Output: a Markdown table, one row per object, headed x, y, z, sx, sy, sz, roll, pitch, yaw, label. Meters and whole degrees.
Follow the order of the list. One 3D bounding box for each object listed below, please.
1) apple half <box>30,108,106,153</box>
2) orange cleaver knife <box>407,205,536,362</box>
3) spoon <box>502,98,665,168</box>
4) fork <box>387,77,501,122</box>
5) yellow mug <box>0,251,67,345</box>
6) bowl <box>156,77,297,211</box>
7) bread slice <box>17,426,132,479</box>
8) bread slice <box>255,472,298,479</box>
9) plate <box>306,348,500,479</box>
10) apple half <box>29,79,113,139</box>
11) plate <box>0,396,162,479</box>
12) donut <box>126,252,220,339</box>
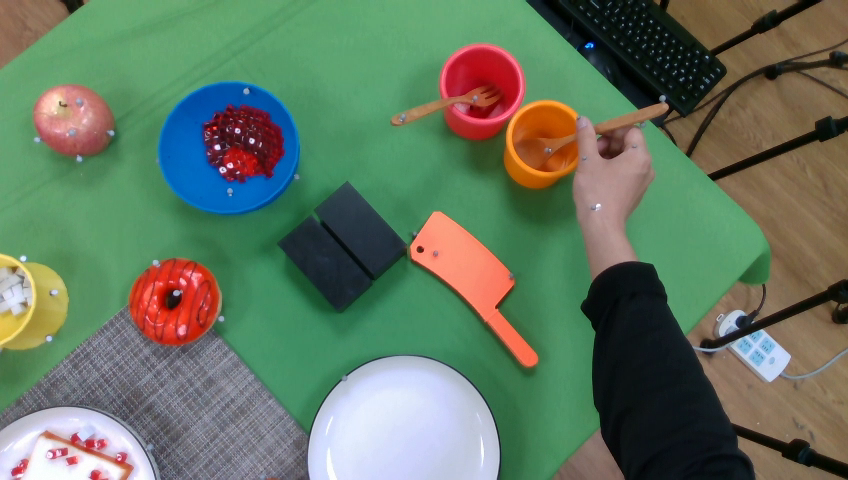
| x | y | z | sx | sy | sz | roll | pitch | yaw | label |
| --- | --- | --- | --- | --- | --- | --- | --- | --- | --- |
| -0.405 | -0.116 | 0.686 | 0.081 | 0.081 | 0.032 | 13 | 75 | 0 | apple half |
| 0.066 | 0.049 | 0.707 | 0.077 | 0.012 | 0.210 | -41 | 83 | -15 | orange cleaver knife |
| 0.171 | -0.120 | 0.674 | 0.022 | 0.193 | 0.041 | 4 | 76 | -47 | spoon |
| 0.027 | -0.158 | 0.676 | 0.028 | 0.018 | 0.207 | 54 | 41 | 6 | fork |
| -0.463 | 0.078 | 0.656 | 0.100 | 0.064 | 0.130 | 23 | 81 | 2 | yellow mug |
| -0.215 | -0.099 | 0.691 | 0.151 | 0.077 | 0.151 | 0 | 81 | -2 | bowl |
| -0.382 | 0.277 | 0.636 | 0.105 | 0.019 | 0.131 | 19 | 80 | 1 | bread slice |
| -0.162 | 0.309 | 0.615 | 0.106 | 0.018 | 0.134 | 37 | 60 | 8 | bread slice |
| -0.023 | 0.223 | 0.663 | 0.209 | 0.038 | 0.208 | 0 | 81 | -2 | plate |
| -0.397 | -0.152 | 0.695 | 0.081 | 0.075 | 0.053 | 13 | 74 | 4 | apple half |
| -0.377 | 0.270 | 0.637 | 0.208 | 0.039 | 0.207 | 0 | 80 | -2 | plate |
| -0.278 | 0.061 | 0.673 | 0.099 | 0.048 | 0.098 | 1 | 80 | -3 | donut |
